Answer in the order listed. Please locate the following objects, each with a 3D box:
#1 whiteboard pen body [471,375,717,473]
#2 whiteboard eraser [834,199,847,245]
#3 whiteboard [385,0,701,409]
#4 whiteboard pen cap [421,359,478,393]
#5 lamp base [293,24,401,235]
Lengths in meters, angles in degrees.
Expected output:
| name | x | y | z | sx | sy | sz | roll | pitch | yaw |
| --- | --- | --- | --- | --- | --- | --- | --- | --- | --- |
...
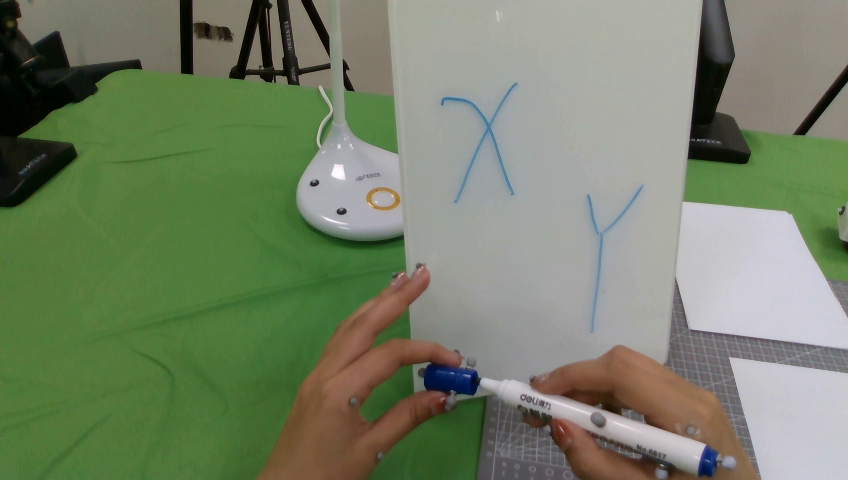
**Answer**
| name | x | y | z | sx | sy | sz | roll | pitch | yaw |
| --- | --- | --- | --- | --- | --- | --- | --- | --- | --- |
| whiteboard pen body | 0.082 | 0.094 | 0.327 | 0.139 | 0.017 | 0.017 | 10 | 36 | 37 |
| whiteboard eraser | 0.495 | -0.005 | 0.634 | 0.112 | 0.042 | 0.055 | 18 | 43 | 18 |
| whiteboard | 0.077 | -0.046 | 0.499 | 0.218 | 0.307 | 0.142 | -7 | 21 | -10 |
| whiteboard pen cap | 0.016 | 0.084 | 0.374 | 0.033 | 0.018 | 0.018 | 7 | 39 | 18 |
| lamp base | -0.071 | -0.123 | 0.639 | 0.161 | 0.182 | 0.177 | -26 | 44 | -30 |
